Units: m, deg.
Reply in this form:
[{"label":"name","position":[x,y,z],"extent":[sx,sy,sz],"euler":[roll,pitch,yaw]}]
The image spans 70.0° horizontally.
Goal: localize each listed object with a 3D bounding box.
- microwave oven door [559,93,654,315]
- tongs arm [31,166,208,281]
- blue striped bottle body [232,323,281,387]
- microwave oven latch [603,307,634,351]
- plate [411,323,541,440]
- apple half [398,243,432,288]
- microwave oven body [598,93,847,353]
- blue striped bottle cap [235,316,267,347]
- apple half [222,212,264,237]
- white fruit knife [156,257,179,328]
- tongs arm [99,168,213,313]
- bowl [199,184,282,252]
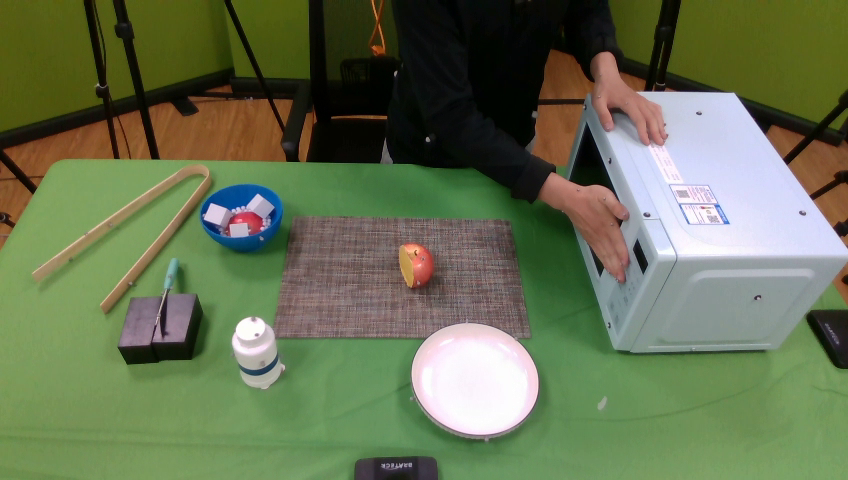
[{"label":"microwave oven door","position":[0.328,-0.074,1.123],"extent":[0.039,0.245,0.353],"euler":[-1,46,-5]},{"label":"tongs arm","position":[-0.578,-0.040,1.184],"extent":[0.050,0.026,0.384],"euler":[23,47,17]},{"label":"blue striped bottle body","position":[-0.262,0.172,0.944],"extent":[0.063,0.121,0.062],"euler":[2,46,-2]},{"label":"microwave oven latch","position":[0.333,0.153,1.044],"extent":[0.030,0.029,0.078],"euler":[-1,45,-4]},{"label":"plate","position":[0.082,0.228,0.976],"extent":[0.208,0.039,0.206],"euler":[2,45,-2]},{"label":"apple half","position":[-0.012,0.047,1.115],"extent":[0.053,0.075,0.080],"euler":[-10,43,-21]},{"label":"microwave oven body","position":[0.476,-0.041,1.110],"extent":[0.326,0.261,0.438],"euler":[-1,45,-4]},{"label":"blue striped bottle cap","position":[-0.259,0.137,0.907],"extent":[0.044,0.021,0.044],"euler":[2,44,-2]},{"label":"apple half","position":[-0.346,-0.033,1.161],"extent":[0.081,0.033,0.081],"euler":[3,48,-3]},{"label":"white fruit knife","position":[-0.440,0.085,1.037],"extent":[0.016,0.027,0.206],"euler":[10,26,-19]},{"label":"tongs arm","position":[-0.503,-0.012,1.167],"extent":[0.028,0.028,0.385],"euler":[11,45,11]},{"label":"bowl","position":[-0.346,-0.030,1.164],"extent":[0.151,0.077,0.150],"euler":[3,46,-2]}]
